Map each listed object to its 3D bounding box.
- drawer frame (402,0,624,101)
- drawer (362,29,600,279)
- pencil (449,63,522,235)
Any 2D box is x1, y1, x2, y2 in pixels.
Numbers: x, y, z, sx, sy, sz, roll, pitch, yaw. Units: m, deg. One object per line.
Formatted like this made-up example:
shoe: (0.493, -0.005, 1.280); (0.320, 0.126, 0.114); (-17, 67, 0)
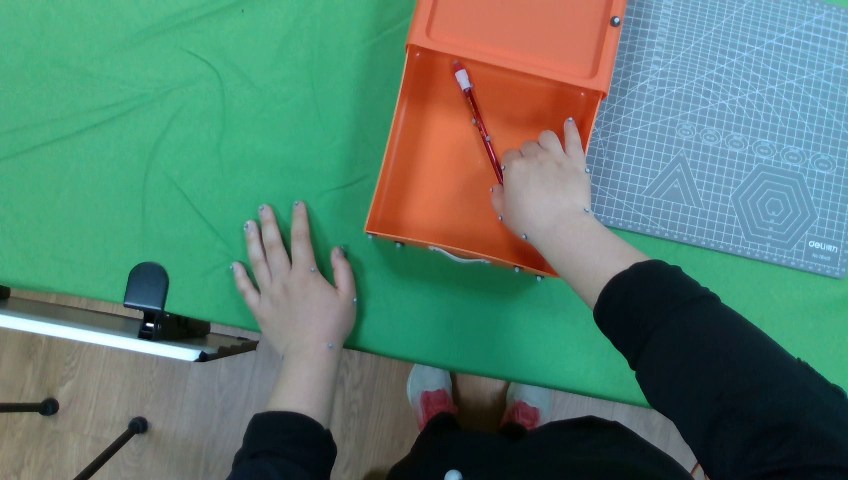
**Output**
drawer frame: (0.098, -0.255, 0.619); (0.202, 0.083, 0.213); (12, 84, 0)
drawer: (0.058, -0.080, 0.606); (0.194, 0.073, 0.211); (13, 87, -1)
pencil: (0.066, -0.095, 0.635); (0.012, 0.012, 0.194); (-22, 89, -4)
